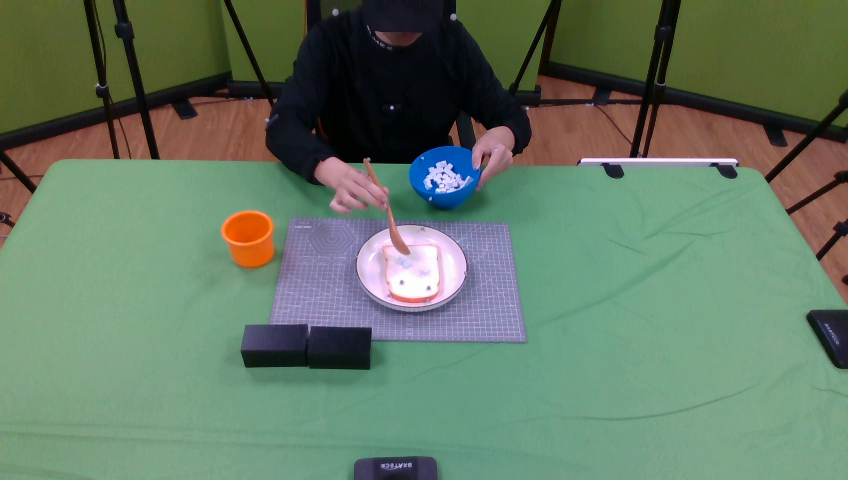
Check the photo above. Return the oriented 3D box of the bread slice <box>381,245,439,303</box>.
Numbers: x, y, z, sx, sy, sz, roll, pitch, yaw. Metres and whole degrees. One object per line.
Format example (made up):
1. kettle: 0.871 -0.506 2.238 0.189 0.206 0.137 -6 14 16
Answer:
1. bread slice: -0.022 0.061 1.126 0.107 0.018 0.133 -3 45 -8

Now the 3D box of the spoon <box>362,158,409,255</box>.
1. spoon: -0.070 -0.057 1.085 0.021 0.194 0.041 -26 13 -26

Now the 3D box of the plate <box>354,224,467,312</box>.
1. plate: -0.025 0.055 1.128 0.209 0.038 0.208 3 46 -2

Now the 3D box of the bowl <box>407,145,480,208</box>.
1. bowl: 0.045 -0.120 1.259 0.151 0.077 0.150 -6 47 7
